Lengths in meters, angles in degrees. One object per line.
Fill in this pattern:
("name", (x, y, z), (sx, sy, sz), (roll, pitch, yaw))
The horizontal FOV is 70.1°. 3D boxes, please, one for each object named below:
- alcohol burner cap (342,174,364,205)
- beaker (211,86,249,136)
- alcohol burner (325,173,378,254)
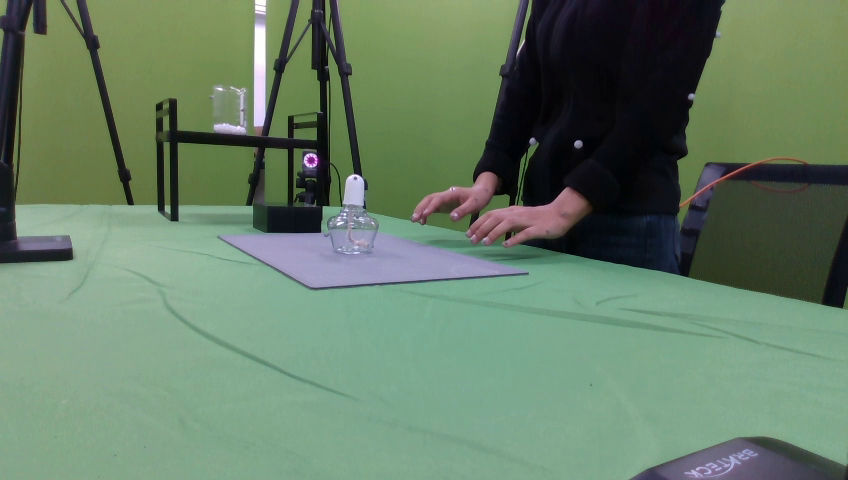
("alcohol burner cap", (-0.104, -0.074, 0.892), (0.034, 0.048, 0.034), (4, 3, 0))
("beaker", (-0.413, -0.274, 1.297), (0.074, 0.100, 0.083), (-5, 11, -44))
("alcohol burner", (-0.107, -0.040, 0.896), (0.078, 0.119, 0.078), (1, 5, 0))
